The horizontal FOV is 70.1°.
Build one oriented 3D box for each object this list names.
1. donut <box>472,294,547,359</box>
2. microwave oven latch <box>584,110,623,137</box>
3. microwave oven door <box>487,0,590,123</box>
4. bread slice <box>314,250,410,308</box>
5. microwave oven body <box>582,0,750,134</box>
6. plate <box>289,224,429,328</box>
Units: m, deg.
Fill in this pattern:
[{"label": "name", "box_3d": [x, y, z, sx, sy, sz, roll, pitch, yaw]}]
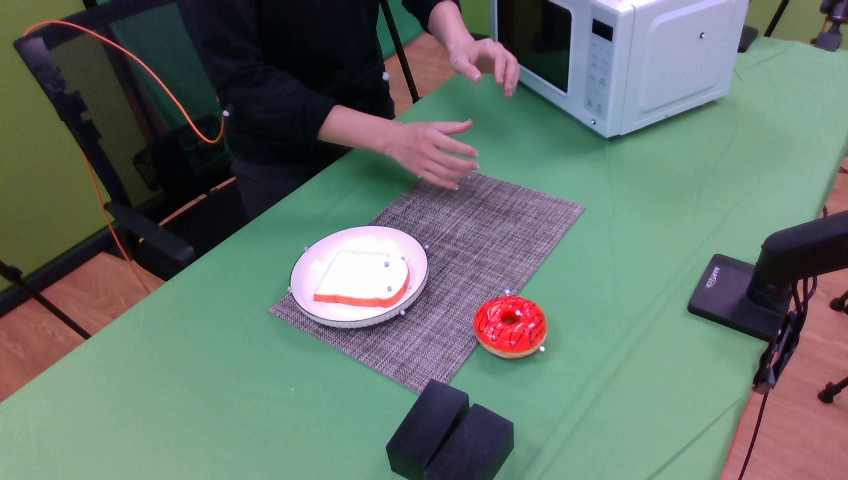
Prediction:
[{"label": "donut", "box_3d": [0.114, 0.114, 0.803, 0.099, 0.048, 0.098, 0, 40, 1]}, {"label": "microwave oven latch", "box_3d": [0.337, -0.223, 1.142, 0.030, 0.029, 0.078, -21, 42, -14]}, {"label": "microwave oven door", "box_3d": [0.232, -0.420, 1.231, 0.039, 0.245, 0.352, -22, 43, -16]}, {"label": "bread slice", "box_3d": [-0.087, 0.057, 0.900, 0.131, 0.019, 0.104, 5, 43, 14]}, {"label": "microwave oven body", "box_3d": [0.382, -0.445, 1.246, 0.327, 0.261, 0.437, -22, 42, -16]}, {"label": "plate", "box_3d": [-0.094, 0.055, 0.902, 0.207, 0.039, 0.206, -4, 40, 4]}]
